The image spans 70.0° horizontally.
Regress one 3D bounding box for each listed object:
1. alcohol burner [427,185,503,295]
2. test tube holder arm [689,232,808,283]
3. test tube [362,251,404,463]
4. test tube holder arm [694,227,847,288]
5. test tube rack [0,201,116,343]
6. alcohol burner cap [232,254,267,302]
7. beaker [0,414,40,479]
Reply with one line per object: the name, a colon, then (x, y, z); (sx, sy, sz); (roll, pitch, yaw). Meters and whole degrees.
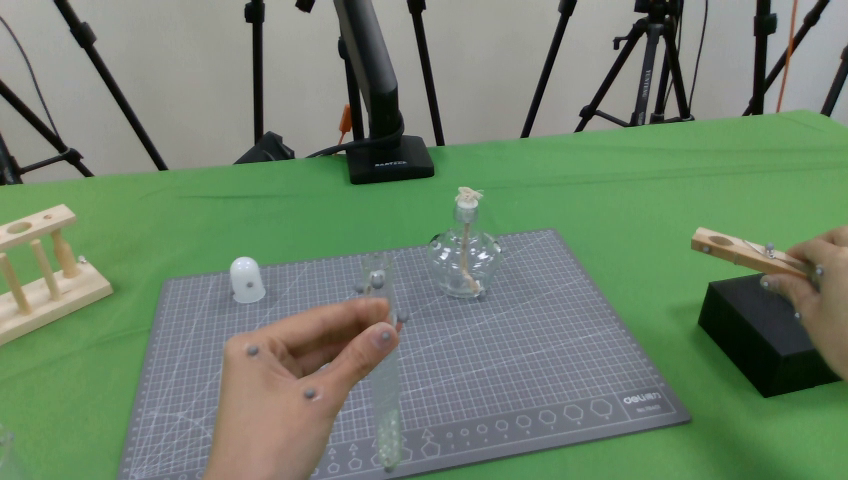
alcohol burner: (0.043, -0.004, 0.613); (0.078, 0.120, 0.077); (1, 34, 0)
test tube holder arm: (0.254, 0.013, 0.478); (0.087, 0.015, 0.010); (22, 63, 35)
test tube: (-0.022, 0.072, 0.339); (0.017, 0.151, 0.017); (-1, 32, 1)
test tube holder arm: (0.292, 0.023, 0.454); (0.177, 0.015, 0.013); (21, 62, 35)
test tube rack: (-0.436, 0.055, 0.569); (0.066, 0.086, 0.242); (28, 44, 35)
alcohol burner cap: (-0.182, 0.037, 0.624); (0.034, 0.048, 0.033); (-1, 34, 1)
beaker: (-0.286, 0.171, 0.383); (0.084, 0.101, 0.073); (-3, 34, -2)
